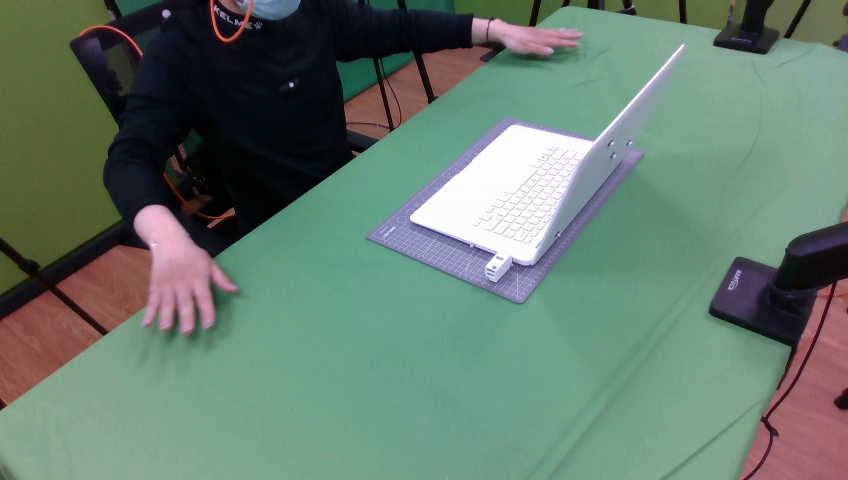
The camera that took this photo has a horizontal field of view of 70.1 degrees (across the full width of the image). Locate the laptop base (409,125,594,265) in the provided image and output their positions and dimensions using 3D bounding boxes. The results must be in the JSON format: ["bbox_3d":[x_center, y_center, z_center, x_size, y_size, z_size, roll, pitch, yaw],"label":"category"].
[{"bbox_3d":[0.168,-0.094,1.056,0.233,0.023,0.355,19,47,32],"label":"laptop base"}]

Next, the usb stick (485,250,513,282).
[{"bbox_3d":[0.116,0.034,0.895,0.021,0.027,0.059,22,47,32],"label":"usb stick"}]

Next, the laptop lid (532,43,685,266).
[{"bbox_3d":[0.280,-0.130,0.907,0.013,0.242,0.357,34,52,17],"label":"laptop lid"}]
